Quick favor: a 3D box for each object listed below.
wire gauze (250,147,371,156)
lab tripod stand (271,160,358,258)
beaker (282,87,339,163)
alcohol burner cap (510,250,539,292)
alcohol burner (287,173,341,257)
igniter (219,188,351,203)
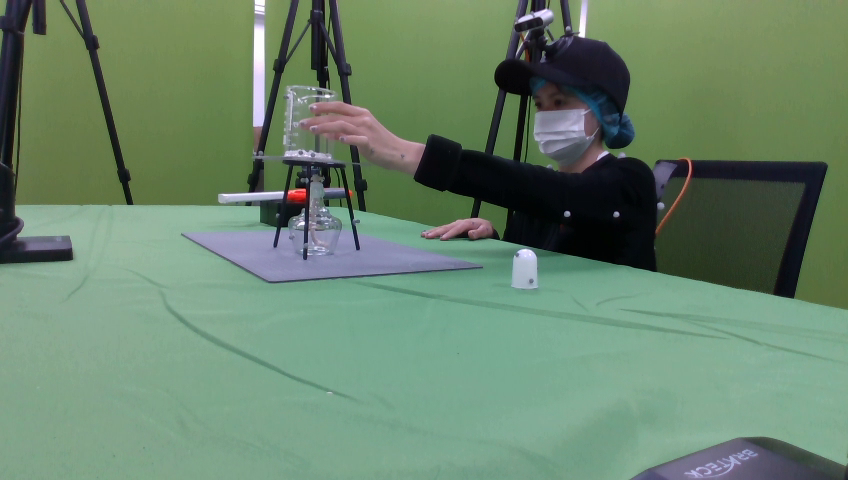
[{"bbox_3d":[-0.162,-0.128,0.868,0.124,0.011,0.122,2,7,32],"label":"wire gauze"},{"bbox_3d":[-0.159,-0.048,0.876,0.148,0.131,0.148,3,5,0],"label":"lab tripod stand"},{"bbox_3d":[-0.164,-0.160,0.857,0.074,0.100,0.083,1,6,-36],"label":"beaker"},{"bbox_3d":[0.118,0.036,0.704,0.034,0.048,0.034,0,6,0],"label":"alcohol burner cap"},{"bbox_3d":[-0.158,-0.037,0.868,0.078,0.119,0.078,1,5,0],"label":"alcohol burner"},{"bbox_3d":[-0.280,-0.092,1.254,0.278,0.025,0.057,-6,10,-34],"label":"igniter"}]
